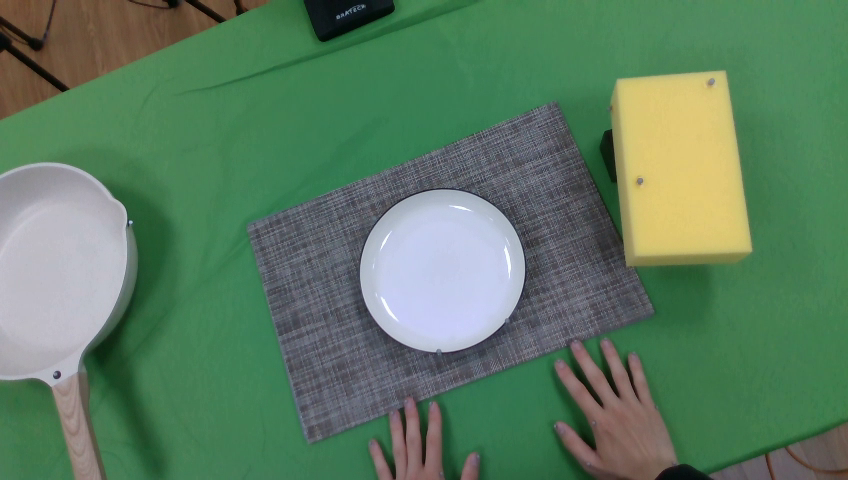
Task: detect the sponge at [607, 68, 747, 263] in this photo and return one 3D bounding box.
[{"bbox_3d":[0.277,-0.081,0.679,0.118,0.061,0.206,-4,77,8],"label":"sponge"}]

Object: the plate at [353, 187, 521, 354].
[{"bbox_3d":[0.017,0.038,0.753,0.207,0.039,0.206,-2,77,8],"label":"plate"}]

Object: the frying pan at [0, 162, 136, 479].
[{"bbox_3d":[-0.476,0.125,0.780,0.307,0.103,0.483,-29,66,3],"label":"frying pan"}]
